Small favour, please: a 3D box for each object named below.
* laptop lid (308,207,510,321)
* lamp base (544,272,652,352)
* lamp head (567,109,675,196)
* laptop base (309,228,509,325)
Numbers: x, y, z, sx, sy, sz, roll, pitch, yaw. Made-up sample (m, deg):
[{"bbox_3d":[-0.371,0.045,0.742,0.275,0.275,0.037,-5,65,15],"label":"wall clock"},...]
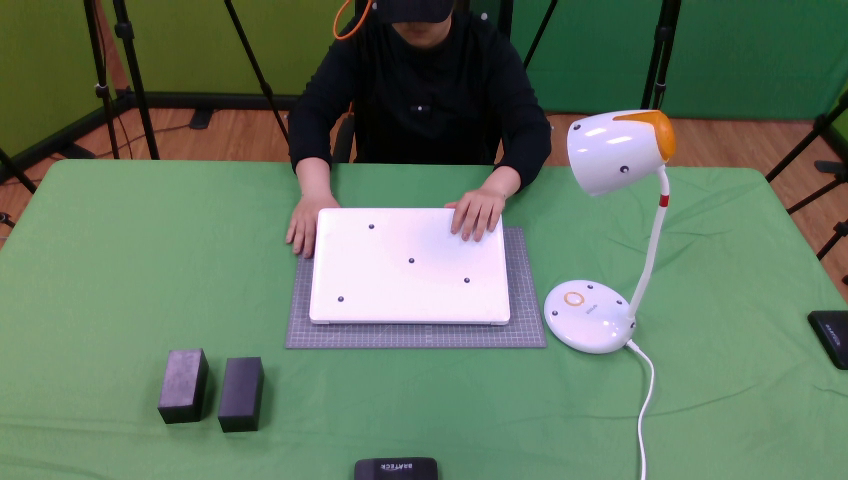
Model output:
[{"bbox_3d":[-0.025,0.039,1.103,0.357,0.013,0.240,2,60,-3],"label":"laptop lid"},{"bbox_3d":[0.310,0.086,1.029,0.178,0.181,0.160,32,52,21],"label":"lamp base"},{"bbox_3d":[0.272,-0.123,0.818,0.122,0.113,0.112,-9,35,37],"label":"lamp head"},{"bbox_3d":[-0.028,0.066,1.135,0.355,0.023,0.234,1,43,-4],"label":"laptop base"}]
